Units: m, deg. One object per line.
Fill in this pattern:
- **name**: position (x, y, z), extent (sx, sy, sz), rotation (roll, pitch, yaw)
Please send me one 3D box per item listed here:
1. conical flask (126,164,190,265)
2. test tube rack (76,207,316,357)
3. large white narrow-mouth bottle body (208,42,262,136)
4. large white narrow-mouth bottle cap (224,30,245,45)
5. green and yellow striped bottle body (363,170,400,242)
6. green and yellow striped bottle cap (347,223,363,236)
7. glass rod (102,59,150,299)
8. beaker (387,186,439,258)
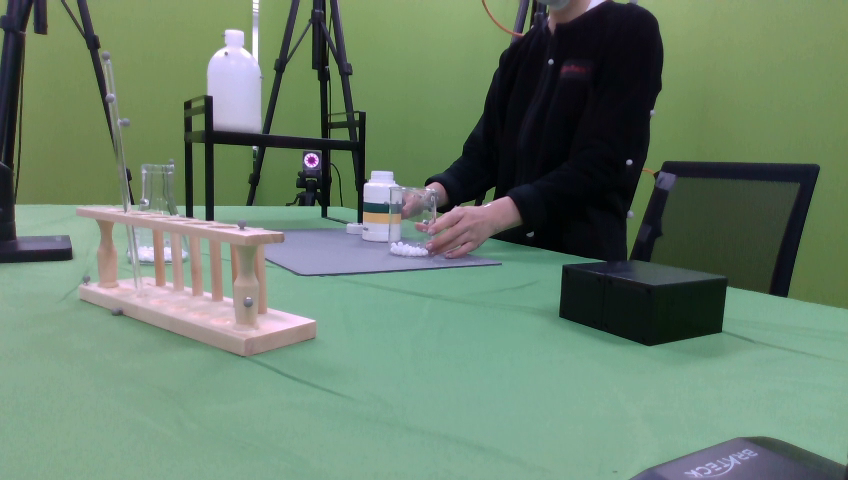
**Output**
- **conical flask**: position (-0.332, -0.033, 0.756), extent (0.075, 0.122, 0.075), rotation (2, 7, 0)
- **test tube rack**: position (-0.196, 0.023, 0.500), extent (0.241, 0.085, 0.067), rotation (8, 9, 36)
- **large white narrow-mouth bottle body**: position (-0.368, -0.304, 1.181), extent (0.102, 0.194, 0.101), rotation (2, 9, 0)
- **large white narrow-mouth bottle cap**: position (-0.365, -0.389, 1.166), extent (0.038, 0.024, 0.037), rotation (2, 9, 0)
- **green and yellow striped bottle body**: position (-0.073, -0.059, 1.036), extent (0.063, 0.119, 0.063), rotation (2, 7, 0)
- **green and yellow striped bottle cap**: position (-0.122, -0.020, 1.133), extent (0.045, 0.020, 0.045), rotation (0, 9, 0)
- **glass rod**: position (-0.243, -0.045, 0.496), extent (0.008, 0.199, 0.008), rotation (-4, 13, 1)
- **beaker**: position (-0.015, -0.027, 0.885), extent (0.074, 0.100, 0.083), rotation (-1, 8, -20)
